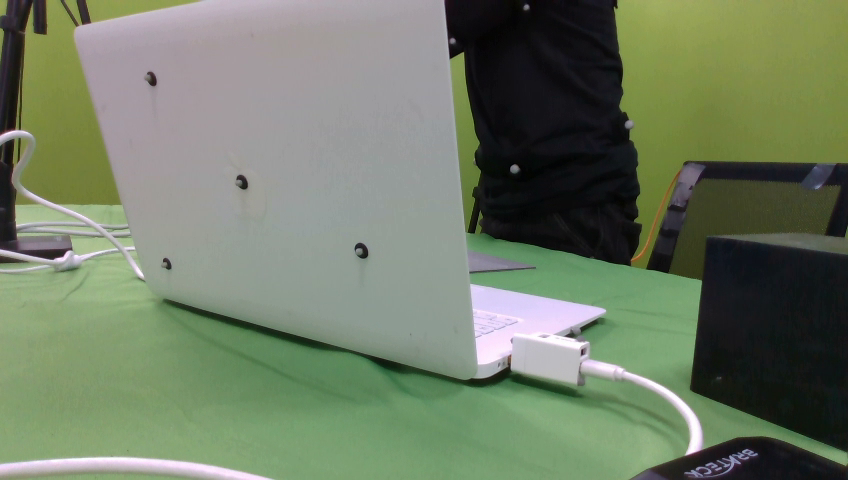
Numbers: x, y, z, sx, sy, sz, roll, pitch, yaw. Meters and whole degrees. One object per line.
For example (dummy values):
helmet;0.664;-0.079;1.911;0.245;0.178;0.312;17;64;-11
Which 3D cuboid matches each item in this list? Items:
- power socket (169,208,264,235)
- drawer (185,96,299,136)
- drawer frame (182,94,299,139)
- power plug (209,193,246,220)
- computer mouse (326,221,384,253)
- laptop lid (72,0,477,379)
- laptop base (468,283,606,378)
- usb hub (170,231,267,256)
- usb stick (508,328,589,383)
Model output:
power socket;-0.381;-0.038;1.129;0.072;0.032;0.227;4;8;16
drawer;-0.415;-0.275;1.370;0.195;0.073;0.210;-4;9;-35
drawer frame;-0.418;-0.276;1.370;0.203;0.082;0.212;-4;9;-36
power plug;-0.388;-0.067;1.205;0.072;0.052;0.035;4;8;27
computer mouse;-0.103;-0.005;0.926;0.063;0.041;0.117;5;11;11
laptop lid;-0.125;-0.042;0.418;0.355;0.241;0.013;9;25;34
laptop base;-0.042;0.058;0.554;0.352;0.023;0.237;8;7;35
usb hub;-0.290;0.004;0.862;0.049;0.025;0.126;11;11;42
usb stick;0.072;0.072;0.383;0.059;0.027;0.021;2;2;34
